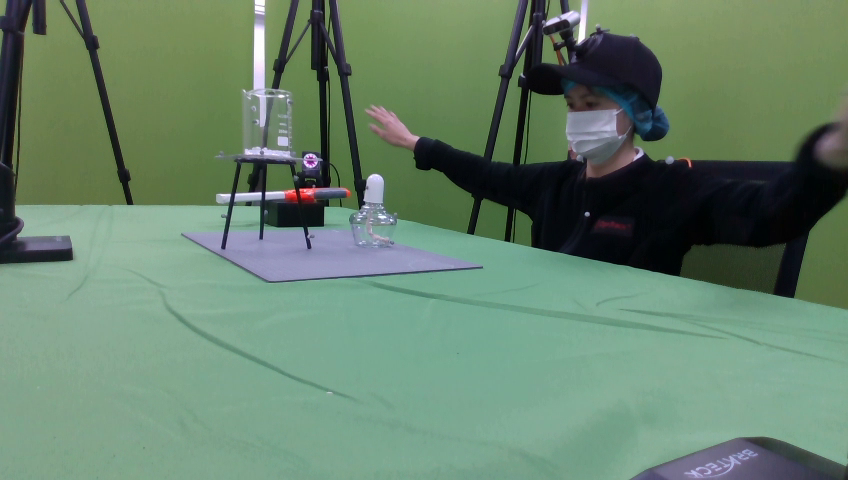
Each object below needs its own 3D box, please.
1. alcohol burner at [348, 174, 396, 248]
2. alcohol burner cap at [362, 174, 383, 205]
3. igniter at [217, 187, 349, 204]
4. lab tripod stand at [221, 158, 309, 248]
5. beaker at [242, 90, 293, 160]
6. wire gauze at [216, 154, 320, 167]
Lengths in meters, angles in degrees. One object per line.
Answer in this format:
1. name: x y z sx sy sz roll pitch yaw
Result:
1. alcohol burner: -0.083 -0.046 0.973 0.078 0.119 0.078 4 5 0
2. alcohol burner cap: -0.081 -0.082 0.969 0.034 0.048 0.034 7 8 -1
3. igniter: -0.285 -0.093 1.256 0.278 0.025 0.057 -6 12 -34
4. lab tripod stand: -0.244 -0.057 0.917 0.148 0.131 0.148 1 7 0
5. beaker: -0.235 -0.169 0.900 0.074 0.100 0.084 4 7 23
6. wire gauze: -0.236 -0.121 0.906 0.126 0.011 0.121 0 8 -33
